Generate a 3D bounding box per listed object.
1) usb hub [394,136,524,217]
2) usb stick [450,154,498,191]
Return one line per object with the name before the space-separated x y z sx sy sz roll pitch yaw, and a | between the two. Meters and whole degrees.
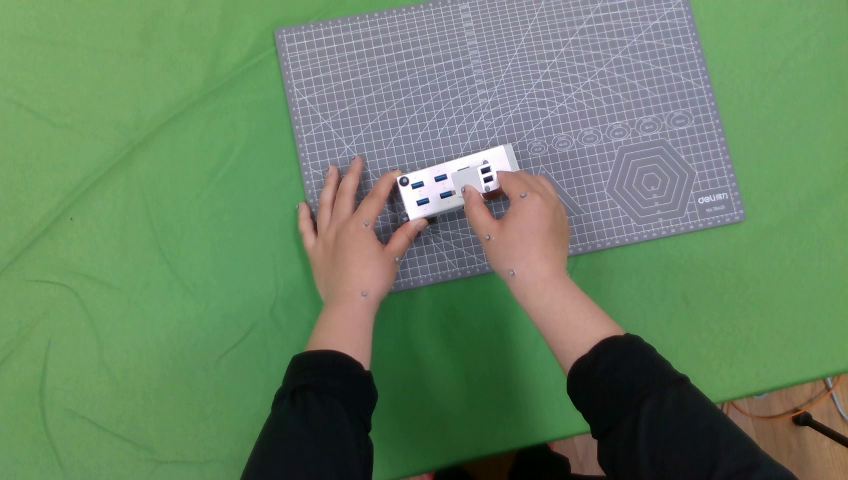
usb hub | 0.035 -0.066 0.624 0.125 0.025 0.049 -17 85 -3
usb stick | 0.043 -0.063 0.577 0.021 0.059 0.027 -26 97 -28
